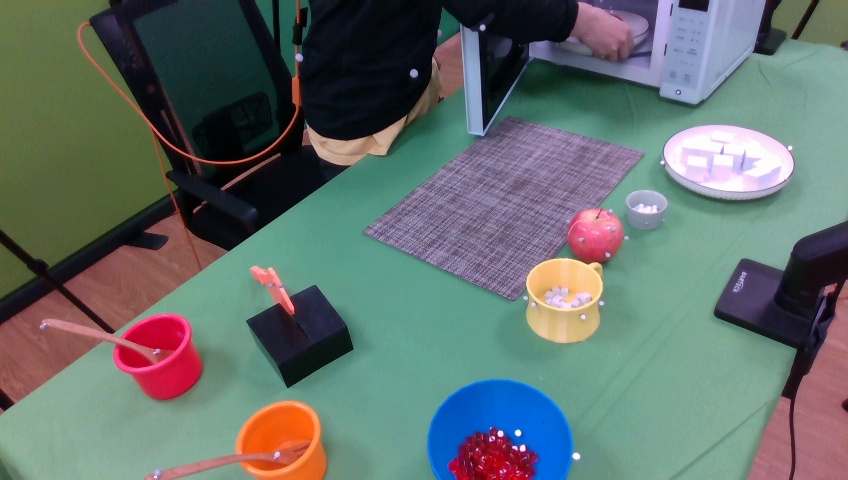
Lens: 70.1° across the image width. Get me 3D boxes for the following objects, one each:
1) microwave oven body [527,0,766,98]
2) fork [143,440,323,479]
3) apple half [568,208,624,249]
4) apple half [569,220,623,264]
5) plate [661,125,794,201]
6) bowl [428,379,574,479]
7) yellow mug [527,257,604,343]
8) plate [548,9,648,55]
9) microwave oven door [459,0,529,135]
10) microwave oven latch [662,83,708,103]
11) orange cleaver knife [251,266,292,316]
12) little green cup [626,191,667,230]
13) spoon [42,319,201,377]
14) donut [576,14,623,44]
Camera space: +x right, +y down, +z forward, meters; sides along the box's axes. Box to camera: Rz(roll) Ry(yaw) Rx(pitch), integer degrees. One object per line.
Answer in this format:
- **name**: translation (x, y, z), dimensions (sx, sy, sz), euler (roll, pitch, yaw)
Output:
- **microwave oven body**: translation (0.472, -0.513, 1.317), dimensions (0.438, 0.261, 0.327), euler (25, 51, 34)
- **fork**: translation (-0.190, 0.231, 0.631), dimensions (0.028, 0.018, 0.209), euler (38, 14, 37)
- **apple half**: translation (0.259, -0.014, 0.914), dimensions (0.080, 0.075, 0.053), euler (0, 36, 15)
- **apple half**: translation (0.251, 0.010, 0.884), dimensions (0.081, 0.081, 0.032), euler (3, 37, 12)
- **plate**: translation (0.514, -0.128, 1.035), dimensions (0.207, 0.039, 0.206), euler (-4, 40, 4)
- **bowl**: translation (0.082, 0.233, 0.644), dimensions (0.151, 0.077, 0.150), euler (-4, 39, 4)
- **yellow mug**: translation (0.201, 0.072, 0.825), dimensions (0.131, 0.064, 0.099), euler (-32, 46, -27)
- **plate**: translation (0.374, -0.445, 1.305), dimensions (0.209, 0.038, 0.208), euler (-5, 38, 5)
- **microwave oven door**: translation (0.153, -0.410, 1.237), dimensions (0.039, 0.245, 0.356), euler (11, 44, 20)
- **microwave oven latch**: translation (0.518, -0.296, 1.204), dimensions (0.078, 0.029, 0.030), euler (28, 52, 36)
- **orange cleaver knife**: translation (-0.221, 0.071, 0.873), dimensions (0.012, 0.077, 0.210), euler (-25, 11, -21)
- **little green cup**: translation (0.352, -0.046, 0.963), dimensions (0.061, 0.039, 0.061), euler (-4, 40, 4)
- **spoon**: translation (-0.385, 0.135, 0.779), dimensions (0.195, 0.021, 0.041), euler (29, 37, -27)
- **donut**: translation (0.374, -0.452, 1.297), dimensions (0.099, 0.048, 0.098), euler (-6, 38, 5)
